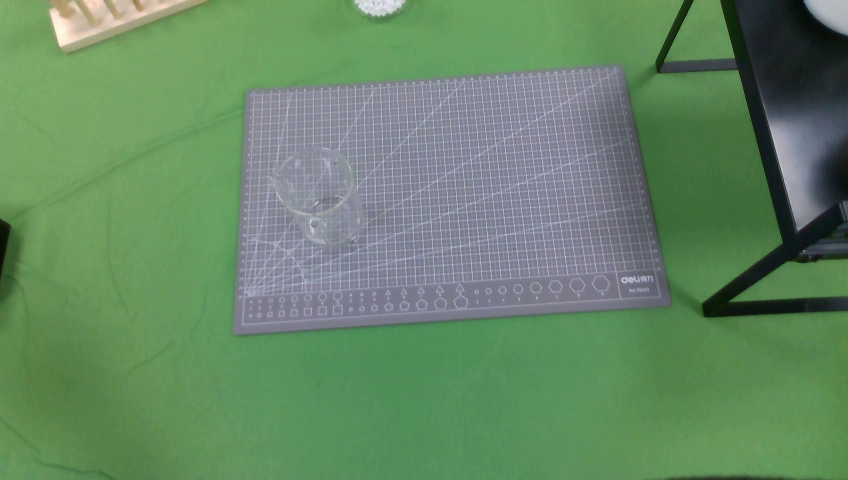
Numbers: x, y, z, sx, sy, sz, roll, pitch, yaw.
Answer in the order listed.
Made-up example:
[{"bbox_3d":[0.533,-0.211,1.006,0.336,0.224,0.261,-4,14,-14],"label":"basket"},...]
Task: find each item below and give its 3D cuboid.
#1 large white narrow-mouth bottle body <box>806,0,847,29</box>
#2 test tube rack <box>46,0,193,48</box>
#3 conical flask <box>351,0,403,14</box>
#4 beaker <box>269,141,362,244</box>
[{"bbox_3d":[0.370,-0.252,0.440,0.102,0.196,0.101,-1,70,3],"label":"large white narrow-mouth bottle body"},{"bbox_3d":[-0.356,-0.330,0.742,0.242,0.086,0.066,-24,70,-7],"label":"test tube rack"},{"bbox_3d":[-0.061,-0.336,0.715,0.075,0.122,0.075,-1,69,2],"label":"conical flask"},{"bbox_3d":[-0.106,-0.044,0.618,0.084,0.101,0.073,6,69,5],"label":"beaker"}]
